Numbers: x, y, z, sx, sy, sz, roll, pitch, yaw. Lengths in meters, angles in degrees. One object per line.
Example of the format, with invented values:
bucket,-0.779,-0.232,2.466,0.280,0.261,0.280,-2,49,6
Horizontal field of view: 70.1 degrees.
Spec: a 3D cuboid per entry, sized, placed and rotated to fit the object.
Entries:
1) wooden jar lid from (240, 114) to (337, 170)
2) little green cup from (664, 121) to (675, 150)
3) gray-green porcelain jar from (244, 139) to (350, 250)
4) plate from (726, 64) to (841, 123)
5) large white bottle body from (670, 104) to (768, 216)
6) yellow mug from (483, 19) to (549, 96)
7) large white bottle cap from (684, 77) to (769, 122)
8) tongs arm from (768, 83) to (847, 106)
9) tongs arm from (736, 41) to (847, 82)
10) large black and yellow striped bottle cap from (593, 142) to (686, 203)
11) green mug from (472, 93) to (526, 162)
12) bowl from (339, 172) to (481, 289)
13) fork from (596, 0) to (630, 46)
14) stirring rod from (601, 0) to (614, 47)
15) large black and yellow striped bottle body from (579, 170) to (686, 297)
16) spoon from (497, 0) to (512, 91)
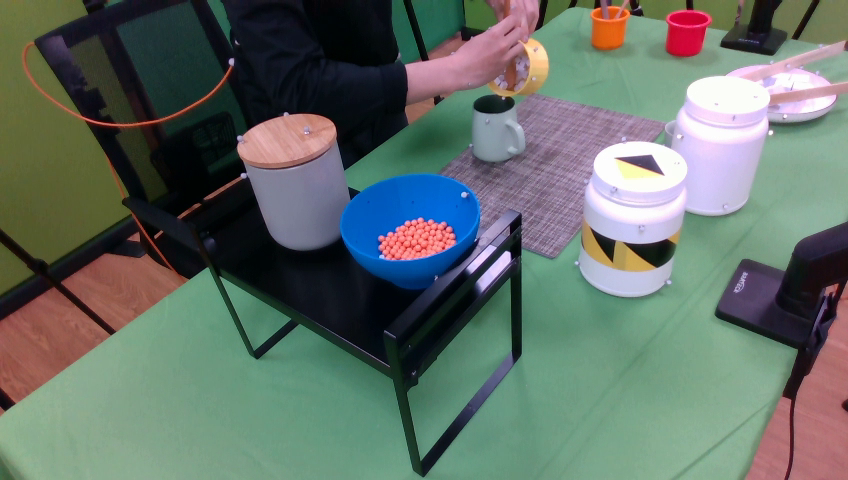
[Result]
wooden jar lid,-0.149,-0.106,0.673,0.108,0.021,0.108,-6,39,5
little green cup,0.472,-0.188,1.113,0.061,0.039,0.061,-4,40,4
gray-green porcelain jar,-0.143,-0.060,0.714,0.106,0.127,0.105,-4,41,4
plate,0.695,-0.282,1.189,0.207,0.039,0.206,-4,40,4
large white bottle body,0.458,-0.146,0.953,0.130,0.185,0.130,-4,40,4
yellow mug,0.166,-0.326,1.084,0.099,0.131,0.064,13,21,36
large white bottle cap,0.448,-0.209,0.898,0.115,0.018,0.114,-4,40,4
tongs arm,0.738,-0.281,1.134,0.388,0.028,0.028,-9,47,-5
tongs arm,0.712,-0.332,1.194,0.386,0.026,0.050,-19,45,-16
large black and yellow striped bottle cap,0.280,-0.090,0.786,0.115,0.019,0.114,-5,41,5
green mug,0.144,-0.202,1.122,0.093,0.105,0.124,-29,45,-23
bowl,-0.011,0.001,0.660,0.151,0.077,0.150,-5,41,5
fork,0.481,-0.556,1.453,0.028,0.019,0.207,40,103,38
stirring rod,0.439,-0.552,1.463,0.014,0.006,0.175,-7,83,3
large black and yellow striped bottle body,0.287,-0.027,0.841,0.131,0.185,0.130,-4,41,4
spoon,0.137,-0.333,1.022,0.022,0.194,0.041,-22,56,-8
